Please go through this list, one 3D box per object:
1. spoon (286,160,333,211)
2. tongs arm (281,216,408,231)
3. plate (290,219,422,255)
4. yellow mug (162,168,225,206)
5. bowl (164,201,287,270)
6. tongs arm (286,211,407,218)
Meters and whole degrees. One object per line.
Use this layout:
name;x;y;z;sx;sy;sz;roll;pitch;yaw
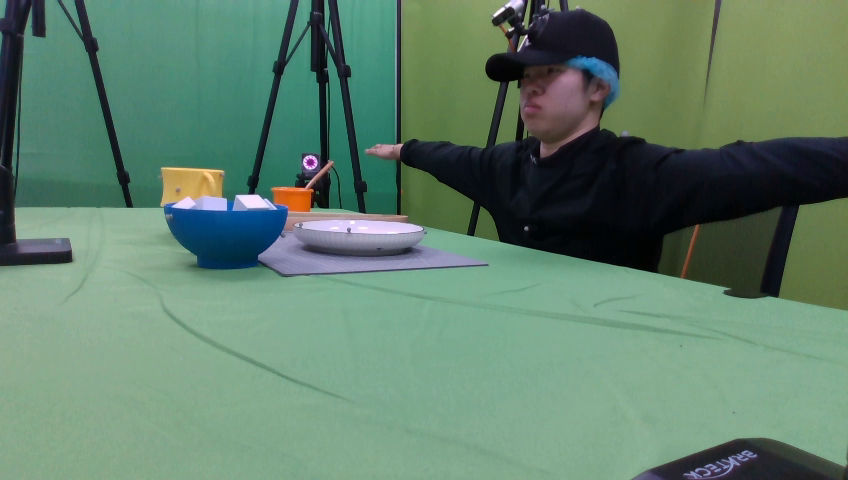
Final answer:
spoon;-0.262;-0.115;1.359;0.041;0.194;0.022;12;-33;38
tongs arm;-0.181;-0.033;1.200;0.390;0.028;0.028;-2;4;-39
plate;-0.108;-0.005;0.963;0.208;0.039;0.207;3;7;0
yellow mug;-0.383;-0.087;1.026;0.130;0.064;0.100;11;11;44
bowl;-0.254;-0.006;0.782;0.151;0.077;0.151;2;8;0
tongs arm;-0.222;-0.045;1.271;0.387;0.026;0.050;1;6;-25
